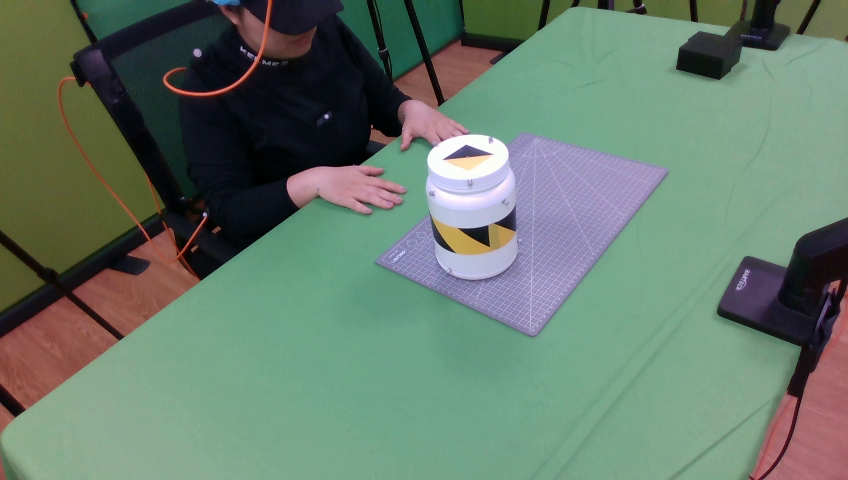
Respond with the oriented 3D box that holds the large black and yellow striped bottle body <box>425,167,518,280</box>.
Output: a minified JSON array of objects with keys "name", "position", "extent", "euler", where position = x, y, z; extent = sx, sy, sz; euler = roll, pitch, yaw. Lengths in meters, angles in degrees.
[{"name":"large black and yellow striped bottle body","position":[0.072,-0.047,0.894],"extent":[0.131,0.185,0.130],"euler":[-5,40,5]}]

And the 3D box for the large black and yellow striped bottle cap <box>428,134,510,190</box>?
[{"name":"large black and yellow striped bottle cap","position":[0.062,-0.111,0.840],"extent":[0.115,0.019,0.114],"euler":[-5,41,5]}]
